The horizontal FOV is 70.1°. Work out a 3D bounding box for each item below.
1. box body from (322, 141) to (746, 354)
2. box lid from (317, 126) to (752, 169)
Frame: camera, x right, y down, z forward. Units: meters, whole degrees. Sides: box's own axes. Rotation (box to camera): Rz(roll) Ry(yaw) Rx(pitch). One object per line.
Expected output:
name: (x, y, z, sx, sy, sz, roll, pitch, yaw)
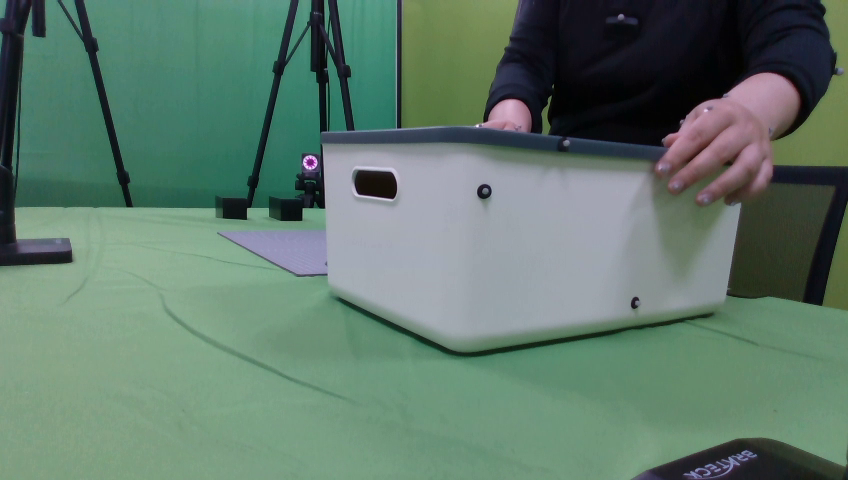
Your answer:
box body: (0.106, -0.011, 0.603, 0.366, 0.160, 0.253, -2, 8, -34)
box lid: (0.107, -0.085, 0.594, 0.373, 0.015, 0.262, -1, 8, -34)
